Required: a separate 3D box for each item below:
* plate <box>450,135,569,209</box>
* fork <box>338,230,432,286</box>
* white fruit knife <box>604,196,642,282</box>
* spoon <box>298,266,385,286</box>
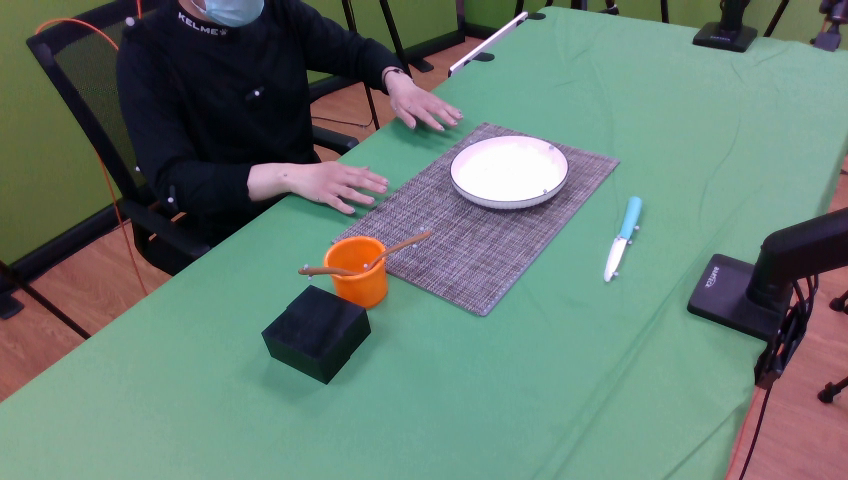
[{"bbox_3d":[0.149,-0.117,1.066,0.209,0.038,0.208,-3,41,3],"label":"plate"},{"bbox_3d":[-0.058,0.028,0.846,0.206,0.018,0.028,-34,5,43],"label":"fork"},{"bbox_3d":[0.309,-0.004,0.938,0.027,0.016,0.207,-11,33,41],"label":"white fruit knife"},{"bbox_3d":[-0.112,0.047,0.826,0.041,0.195,0.021,-25,71,23],"label":"spoon"}]
